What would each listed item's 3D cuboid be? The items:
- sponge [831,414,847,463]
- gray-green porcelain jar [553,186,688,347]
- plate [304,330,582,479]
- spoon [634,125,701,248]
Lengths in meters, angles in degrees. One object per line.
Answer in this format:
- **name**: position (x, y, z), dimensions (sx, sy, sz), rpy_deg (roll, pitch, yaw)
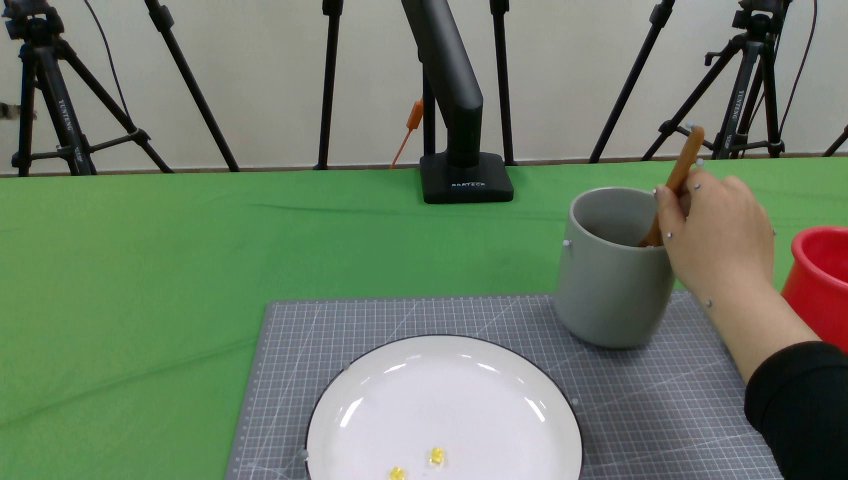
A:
- **sponge**: position (0.403, 0.196, 0.405), dimensions (0.118, 0.061, 0.204), rpy_deg (-3, 36, -7)
- **gray-green porcelain jar**: position (0.180, 0.029, 0.573), dimensions (0.106, 0.127, 0.105), rpy_deg (0, 36, 0)
- **plate**: position (0.014, 0.155, 0.469), dimensions (0.208, 0.039, 0.205), rpy_deg (1, 35, 0)
- **spoon**: position (0.209, -0.022, 0.532), dimensions (0.021, 0.195, 0.041), rpy_deg (-14, 52, -5)
